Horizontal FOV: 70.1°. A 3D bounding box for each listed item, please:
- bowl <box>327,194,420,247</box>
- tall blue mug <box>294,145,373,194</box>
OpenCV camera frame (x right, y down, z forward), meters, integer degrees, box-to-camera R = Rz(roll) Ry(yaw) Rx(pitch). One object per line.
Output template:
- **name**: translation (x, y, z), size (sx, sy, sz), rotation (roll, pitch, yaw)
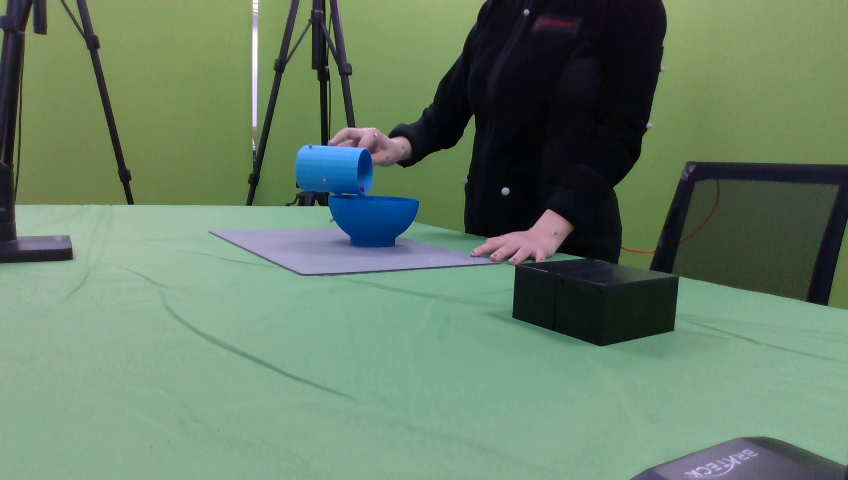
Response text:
- **bowl**: translation (-0.083, -0.032, 0.988), size (0.151, 0.077, 0.151), rotation (2, 7, 0)
- **tall blue mug**: translation (-0.144, -0.129, 1.007), size (0.108, 0.107, 0.078), rotation (4, -36, 15)
